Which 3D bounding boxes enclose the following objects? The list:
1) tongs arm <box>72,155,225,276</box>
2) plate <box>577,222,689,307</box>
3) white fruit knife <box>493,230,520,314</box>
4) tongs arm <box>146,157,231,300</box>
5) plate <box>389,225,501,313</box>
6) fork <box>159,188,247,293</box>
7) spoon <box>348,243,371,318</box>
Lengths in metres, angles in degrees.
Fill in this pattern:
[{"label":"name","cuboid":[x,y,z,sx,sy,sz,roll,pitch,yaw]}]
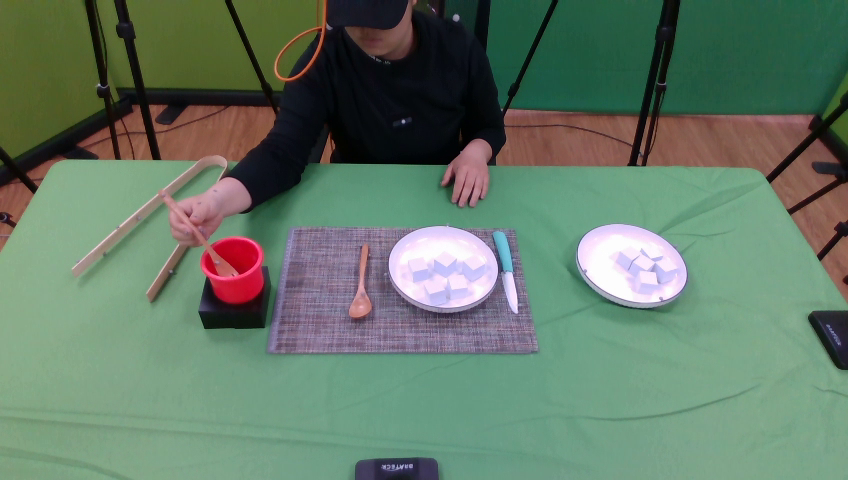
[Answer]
[{"label":"tongs arm","cuboid":[-0.531,-0.058,1.205,0.050,0.026,0.383,19,47,13]},{"label":"plate","cuboid":[0.396,0.050,1.165,0.209,0.038,0.208,2,47,-2]},{"label":"white fruit knife","cuboid":[0.160,0.057,1.154,0.027,0.016,0.206,-21,46,16]},{"label":"tongs arm","cuboid":[-0.455,-0.035,1.194,0.028,0.028,0.385,7,46,6]},{"label":"plate","cuboid":[0.038,0.057,1.129,0.208,0.039,0.206,2,46,-2]},{"label":"fork","cuboid":[-0.359,0.002,0.982,0.028,0.208,0.018,-44,24,-28]},{"label":"spoon","cuboid":[-0.113,0.070,1.115,0.041,0.022,0.192,-11,45,10]}]
